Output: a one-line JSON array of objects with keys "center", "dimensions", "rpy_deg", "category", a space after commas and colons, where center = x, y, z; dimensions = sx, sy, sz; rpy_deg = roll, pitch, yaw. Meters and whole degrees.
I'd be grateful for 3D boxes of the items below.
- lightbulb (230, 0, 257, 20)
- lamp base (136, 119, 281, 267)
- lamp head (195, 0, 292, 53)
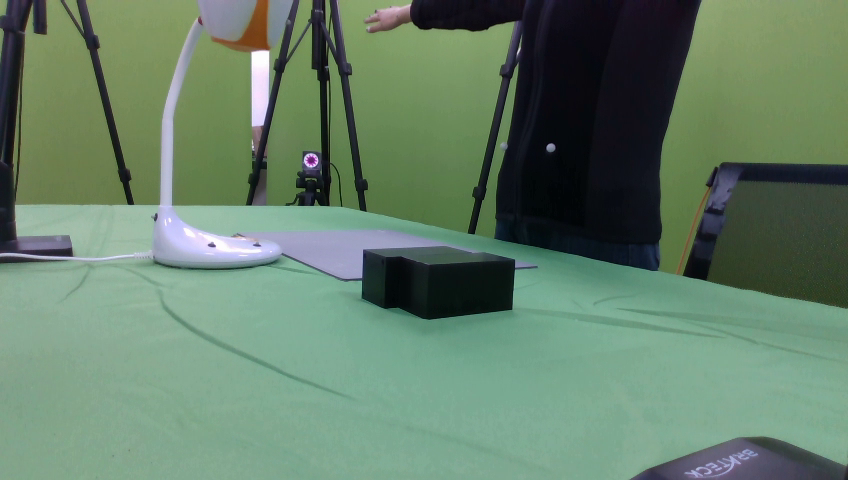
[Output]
[{"center": [-0.175, -0.275, 0.603], "dimensions": [0.059, 0.107, 0.059], "rpy_deg": [11, 11, -2], "category": "lightbulb"}, {"center": [-0.275, -0.061, 0.773], "dimensions": [0.160, 0.180, 0.180], "rpy_deg": [9, 13, 44], "category": "lamp base"}, {"center": [-0.185, -0.254, 0.610], "dimensions": [0.112, 0.123, 0.112], "rpy_deg": [10, 20, -3], "category": "lamp head"}]
